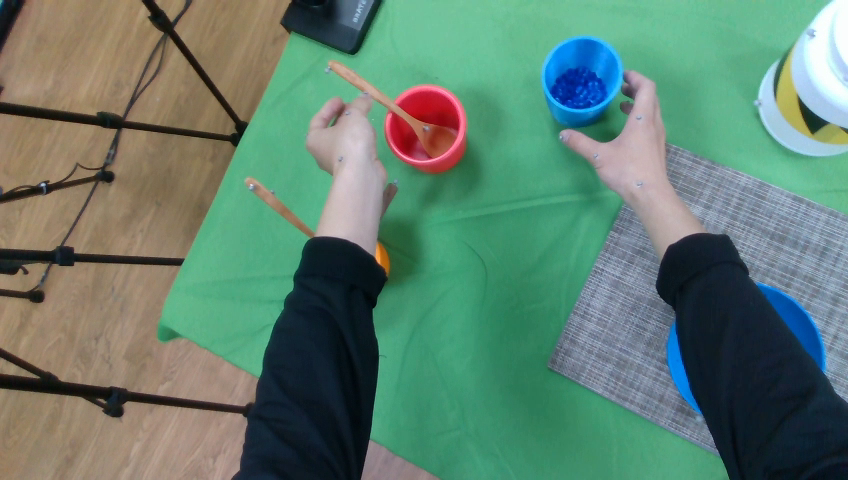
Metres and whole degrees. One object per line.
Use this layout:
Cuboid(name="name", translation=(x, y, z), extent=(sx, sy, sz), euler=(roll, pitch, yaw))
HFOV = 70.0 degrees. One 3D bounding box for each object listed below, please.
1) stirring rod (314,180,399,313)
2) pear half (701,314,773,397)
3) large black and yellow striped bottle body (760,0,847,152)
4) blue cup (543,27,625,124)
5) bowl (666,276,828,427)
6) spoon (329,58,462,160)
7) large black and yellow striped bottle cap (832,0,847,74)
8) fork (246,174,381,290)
Cuboid(name="stirring rod", translation=(-0.078, 0.008, 0.700), extent=(0.014, 0.006, 0.176), euler=(31, 90, 10))
Cuboid(name="pear half", translation=(0.334, 0.120, 0.638), extent=(0.070, 0.031, 0.087), euler=(6, 80, 6))
Cuboid(name="large black and yellow striped bottle body", translation=(0.436, -0.174, 0.608), extent=(0.130, 0.185, 0.130), euler=(-1, 83, 11))
Cuboid(name="blue cup", translation=(0.180, -0.177, 0.698), extent=(0.092, 0.100, 0.092), euler=(-1, 85, 11))
Cuboid(name="bowl", translation=(0.331, 0.116, 0.646), extent=(0.151, 0.077, 0.151), euler=(-1, 83, 11))
Cuboid(name="spoon", translation=(-0.030, -0.155, 0.715), extent=(0.195, 0.021, 0.041), euler=(32, 92, -31))
Cuboid(name="large black and yellow striped bottle cap", translation=(0.421, -0.183, 0.526), extent=(0.115, 0.019, 0.114), euler=(-1, 84, 12))
Cuboid(name="fork", translation=(-0.127, -0.007, 0.712), extent=(0.028, 0.018, 0.209), euler=(-39, 122, 12))
